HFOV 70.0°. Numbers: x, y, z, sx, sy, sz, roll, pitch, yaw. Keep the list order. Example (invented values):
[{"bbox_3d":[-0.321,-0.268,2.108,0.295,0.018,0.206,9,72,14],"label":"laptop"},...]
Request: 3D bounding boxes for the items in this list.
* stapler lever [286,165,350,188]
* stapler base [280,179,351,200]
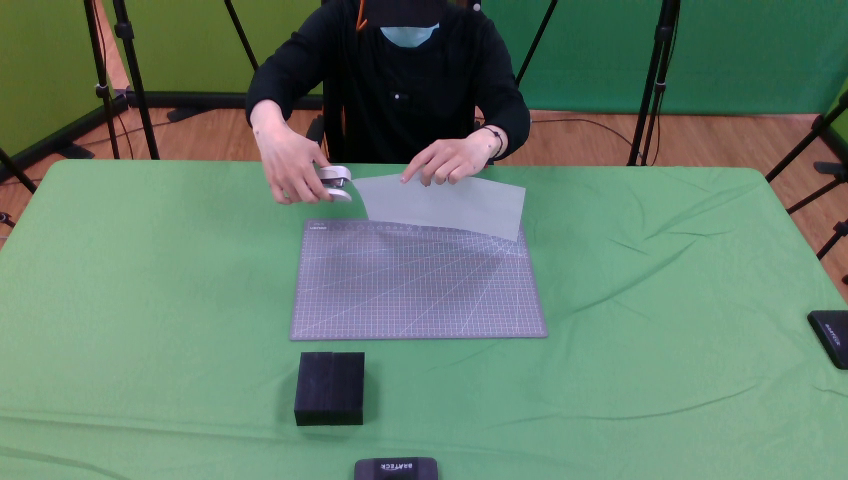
[{"bbox_3d":[-0.187,-0.116,1.077,0.118,0.027,0.040,8,77,22],"label":"stapler lever"},{"bbox_3d":[-0.190,-0.092,1.073,0.130,0.041,0.024,7,76,21],"label":"stapler base"}]
